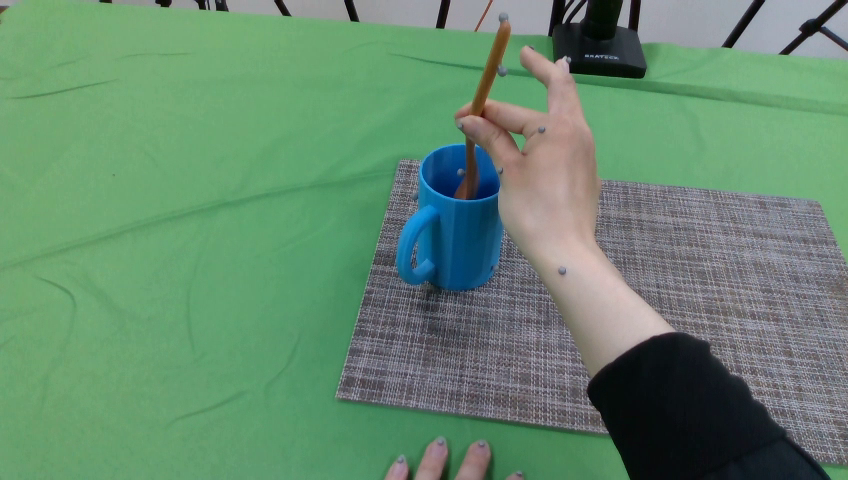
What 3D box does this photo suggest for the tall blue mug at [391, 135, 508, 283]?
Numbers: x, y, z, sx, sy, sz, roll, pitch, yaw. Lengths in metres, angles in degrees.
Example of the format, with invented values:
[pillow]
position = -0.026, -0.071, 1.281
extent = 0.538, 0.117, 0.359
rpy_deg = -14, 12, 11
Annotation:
[tall blue mug]
position = 0.024, -0.015, 0.520
extent = 0.077, 0.109, 0.106
rpy_deg = 13, 48, 9

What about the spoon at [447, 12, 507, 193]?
[spoon]
position = 0.035, -0.085, 0.451
extent = 0.021, 0.195, 0.041
rpy_deg = 9, 58, 1
